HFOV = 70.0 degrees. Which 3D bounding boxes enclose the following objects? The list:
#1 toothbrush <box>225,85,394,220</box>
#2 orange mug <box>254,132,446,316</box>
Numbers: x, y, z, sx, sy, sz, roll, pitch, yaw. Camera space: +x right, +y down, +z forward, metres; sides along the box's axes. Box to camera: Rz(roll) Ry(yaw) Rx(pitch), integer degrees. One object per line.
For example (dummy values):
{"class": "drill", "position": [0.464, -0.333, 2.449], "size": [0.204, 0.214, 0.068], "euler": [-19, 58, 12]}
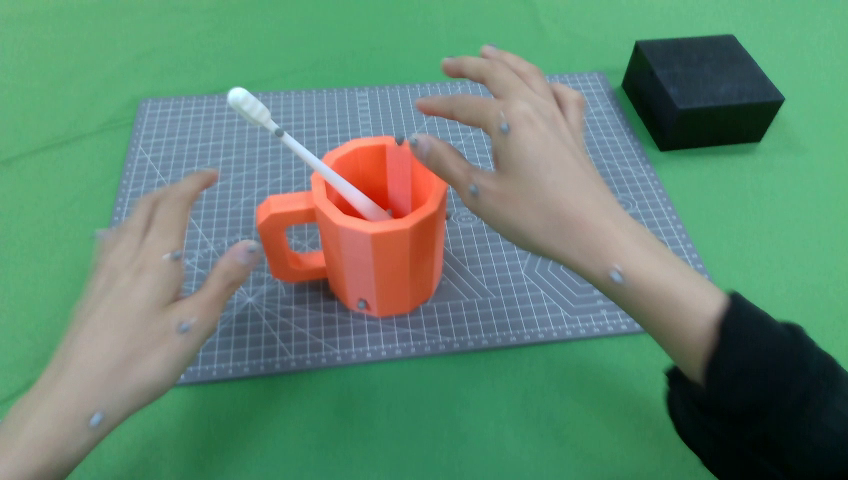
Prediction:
{"class": "toothbrush", "position": [-0.050, -0.034, 0.384], "size": [0.016, 0.184, 0.014], "euler": [18, 72, 49]}
{"class": "orange mug", "position": [-0.048, -0.007, 0.412], "size": [0.126, 0.101, 0.082], "euler": [-6, 52, -12]}
